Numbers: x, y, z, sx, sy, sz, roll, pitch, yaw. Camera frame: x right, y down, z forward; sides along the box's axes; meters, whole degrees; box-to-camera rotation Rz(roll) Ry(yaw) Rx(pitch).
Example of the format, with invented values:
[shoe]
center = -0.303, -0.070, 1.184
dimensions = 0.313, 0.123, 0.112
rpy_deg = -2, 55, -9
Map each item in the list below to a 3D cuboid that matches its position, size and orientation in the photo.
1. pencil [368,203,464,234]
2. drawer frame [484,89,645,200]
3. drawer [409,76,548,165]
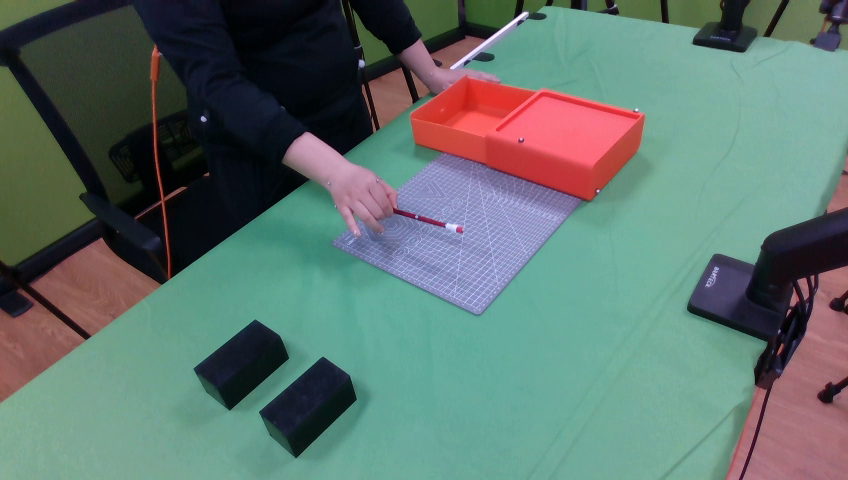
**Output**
[pencil]
center = -0.017, -0.036, 0.948
dimensions = 0.192, 0.012, 0.012
rpy_deg = 17, 46, 34
[drawer frame]
center = 0.253, -0.180, 1.094
dimensions = 0.212, 0.083, 0.202
rpy_deg = 24, 48, 31
[drawer]
center = 0.113, -0.237, 1.190
dimensions = 0.210, 0.073, 0.195
rpy_deg = 22, 47, 33
